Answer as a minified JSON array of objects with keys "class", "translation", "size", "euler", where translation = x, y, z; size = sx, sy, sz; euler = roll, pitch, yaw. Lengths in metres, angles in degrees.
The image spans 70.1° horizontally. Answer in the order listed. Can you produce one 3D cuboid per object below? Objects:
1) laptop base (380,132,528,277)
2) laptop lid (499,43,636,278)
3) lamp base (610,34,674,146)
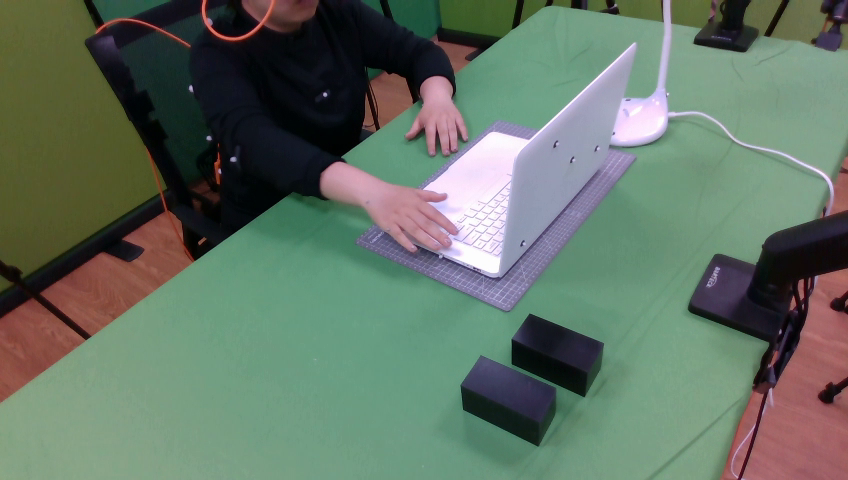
[{"class":"laptop base","translation":[0.122,-0.077,1.042],"size":[0.233,0.023,0.355],"euler":[20,47,33]},{"class":"laptop lid","translation":[0.217,-0.121,0.898],"size":[0.013,0.242,0.358],"euler":[28,50,25]},{"class":"lamp base","translation":[0.392,-0.291,1.129],"size":[0.180,0.181,0.159],"euler":[-11,41,-8]}]
